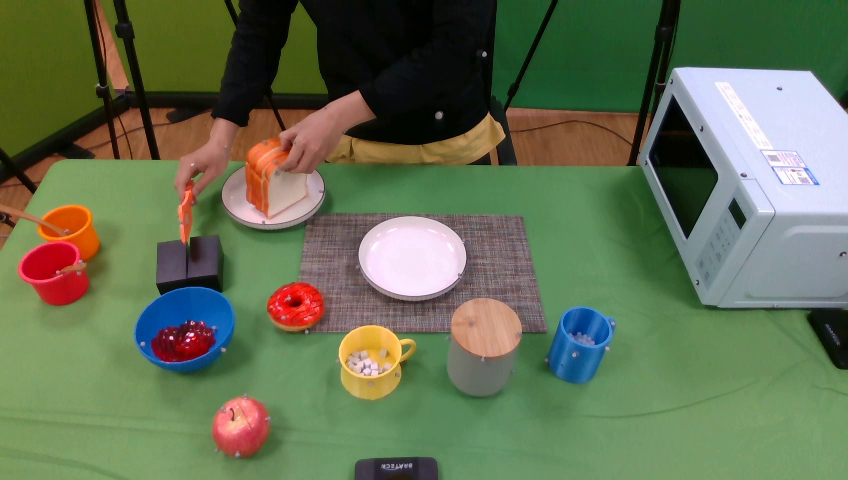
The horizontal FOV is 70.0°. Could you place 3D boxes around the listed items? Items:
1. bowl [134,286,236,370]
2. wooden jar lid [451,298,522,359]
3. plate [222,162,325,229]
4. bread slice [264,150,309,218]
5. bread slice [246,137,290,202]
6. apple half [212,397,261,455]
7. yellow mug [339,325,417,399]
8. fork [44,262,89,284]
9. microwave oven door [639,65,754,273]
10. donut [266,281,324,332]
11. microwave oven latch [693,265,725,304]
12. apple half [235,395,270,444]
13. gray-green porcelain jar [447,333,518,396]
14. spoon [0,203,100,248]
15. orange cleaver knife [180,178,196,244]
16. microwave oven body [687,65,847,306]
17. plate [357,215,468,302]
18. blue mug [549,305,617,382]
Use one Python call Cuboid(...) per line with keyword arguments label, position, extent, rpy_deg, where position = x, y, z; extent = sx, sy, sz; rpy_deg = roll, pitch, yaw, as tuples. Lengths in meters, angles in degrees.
Cuboid(label="bowl", position=(-0.377, 0.155, 0.981), extent=(0.151, 0.077, 0.150), rpy_deg=(2, 46, -2))
Cuboid(label="wooden jar lid", position=(0.093, 0.135, 0.914), extent=(0.108, 0.021, 0.107), rpy_deg=(3, 49, -3))
Cuboid(label="plate", position=(-0.307, -0.095, 1.251), extent=(0.209, 0.038, 0.208), rpy_deg=(2, 46, -2))
Cuboid(label="bread slice", position=(-0.273, -0.114, 1.195), extent=(0.018, 0.135, 0.107), rpy_deg=(36, 56, 20))
Cuboid(label="bread slice", position=(-0.310, -0.147, 1.212), extent=(0.019, 0.132, 0.105), rpy_deg=(38, 51, 22))
Cuboid(label="apple half", position=(-0.276, 0.276, 0.877), extent=(0.053, 0.075, 0.080), rpy_deg=(-29, 58, -21))
Cuboid(label="yellow mug", position=(-0.072, 0.191, 0.978), extent=(0.131, 0.064, 0.099), rpy_deg=(-17, 50, -20))
Cuboid(label="fork", position=(-0.599, 0.054, 1.014), extent=(0.207, 0.019, 0.028), rpy_deg=(-15, 29, 45))
Cuboid(label="microwave oven door", position=(0.522, -0.147, 1.192), extent=(0.039, 0.245, 0.353), rpy_deg=(0, 47, -3))
Cuboid(label="donut", position=(-0.222, 0.114, 1.049), extent=(0.099, 0.048, 0.098), rpy_deg=(2, 45, -2))
Cuboid(label="microwave oven latch", position=(0.522, 0.081, 1.115), extent=(0.030, 0.029, 0.078), rpy_deg=(2, 46, -1))
Cuboid(label="apple half", position=(-0.245, 0.259, 0.893), extent=(0.033, 0.082, 0.081), rpy_deg=(-29, 55, -22))
Cuboid(label="gray-green porcelain jar", position=(0.091, 0.178, 0.960), extent=(0.106, 0.127, 0.105), rpy_deg=(2, 47, -2))
Cuboid(label="spoon", position=(-0.683, -0.031, 1.088), extent=(0.195, 0.021, 0.041), rpy_deg=(33, 33, -38))
Cuboid(label="orange cleaver knife", position=(-0.444, -0.059, 1.148), extent=(0.012, 0.077, 0.210), rpy_deg=(-5, 25, -13))
Cuboid(label="microwave oven body", position=(0.669, -0.111, 1.176), extent=(0.326, 0.261, 0.439), rpy_deg=(0, 46, -3))
Cuboid(label="plate", position=(-0.022, 0.037, 1.141), extent=(0.208, 0.039, 0.206), rpy_deg=(2, 46, -2))
Cuboid(label="blue mug", position=(0.269, 0.166, 0.998), extent=(0.116, 0.106, 0.082), rpy_deg=(-19, 51, -21))
